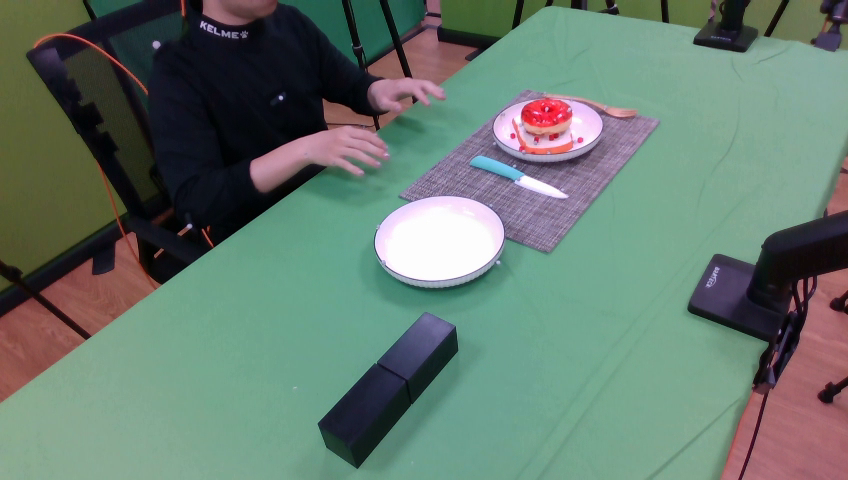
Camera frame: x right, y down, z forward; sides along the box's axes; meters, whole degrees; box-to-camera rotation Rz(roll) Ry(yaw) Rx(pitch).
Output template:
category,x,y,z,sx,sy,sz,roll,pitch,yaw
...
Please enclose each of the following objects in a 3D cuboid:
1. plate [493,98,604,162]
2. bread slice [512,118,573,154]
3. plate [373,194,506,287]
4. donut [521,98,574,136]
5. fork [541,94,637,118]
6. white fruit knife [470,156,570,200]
category,x,y,z,sx,sy,sz,roll,pitch,yaw
plate,0.237,-0.206,1.158,0.209,0.038,0.208,-4,40,4
bread slice,0.232,-0.204,1.160,0.105,0.019,0.131,-8,39,1
plate,0.025,0.003,0.952,0.207,0.039,0.206,-4,41,4
donut,0.232,-0.232,1.135,0.099,0.048,0.098,-4,41,4
fork,0.334,-0.277,1.240,0.206,0.019,0.028,22,56,27
white fruit knife,0.169,-0.111,1.076,0.205,0.016,0.027,28,80,32
